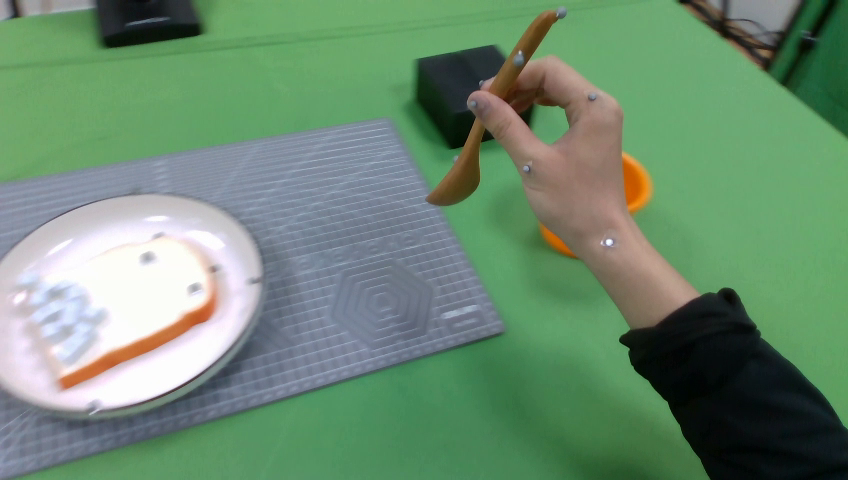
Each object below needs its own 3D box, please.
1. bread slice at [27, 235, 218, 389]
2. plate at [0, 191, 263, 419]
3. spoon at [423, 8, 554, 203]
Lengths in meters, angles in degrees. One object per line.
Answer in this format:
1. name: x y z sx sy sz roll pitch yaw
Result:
1. bread slice: -0.236 0.045 0.483 0.131 0.019 0.104 -27 59 -24
2. plate: -0.232 0.047 0.478 0.209 0.038 0.207 3 50 -4
3. spoon: 0.037 -0.077 0.401 0.042 0.195 0.021 -10 62 -22
